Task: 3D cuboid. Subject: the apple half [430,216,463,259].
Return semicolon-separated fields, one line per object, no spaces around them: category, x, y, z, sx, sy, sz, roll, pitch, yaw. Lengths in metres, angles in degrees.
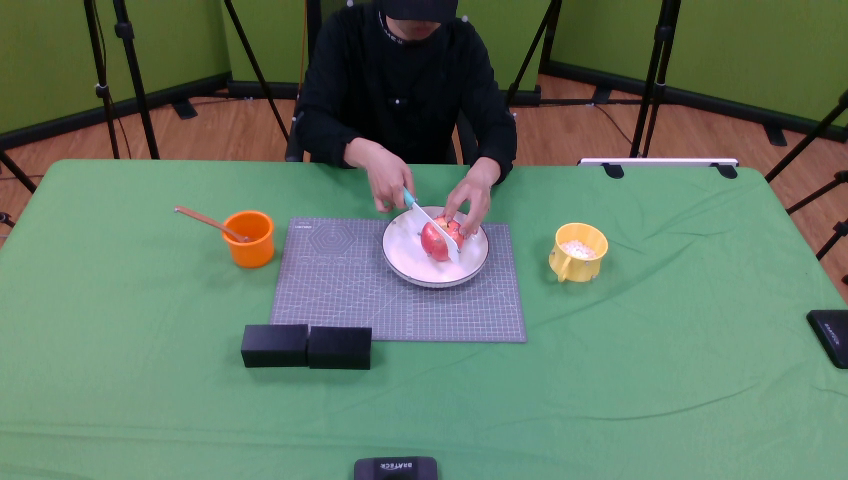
apple half;0.043;-0.007;1.155;0.053;0.075;0.080;-21;49;-32

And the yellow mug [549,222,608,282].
yellow mug;0.288;0.031;1.159;0.099;0.064;0.130;27;51;21

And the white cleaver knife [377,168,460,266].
white cleaver knife;-0.016;-0.049;1.170;0.021;0.066;0.284;-24;49;-21

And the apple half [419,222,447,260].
apple half;0.011;0.010;1.139;0.033;0.082;0.081;-27;53;-22

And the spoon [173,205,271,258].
spoon;-0.362;-0.017;1.098;0.021;0.195;0.041;-32;42;27

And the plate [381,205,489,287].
plate;0.021;0.015;1.170;0.209;0.038;0.208;2;46;-2
